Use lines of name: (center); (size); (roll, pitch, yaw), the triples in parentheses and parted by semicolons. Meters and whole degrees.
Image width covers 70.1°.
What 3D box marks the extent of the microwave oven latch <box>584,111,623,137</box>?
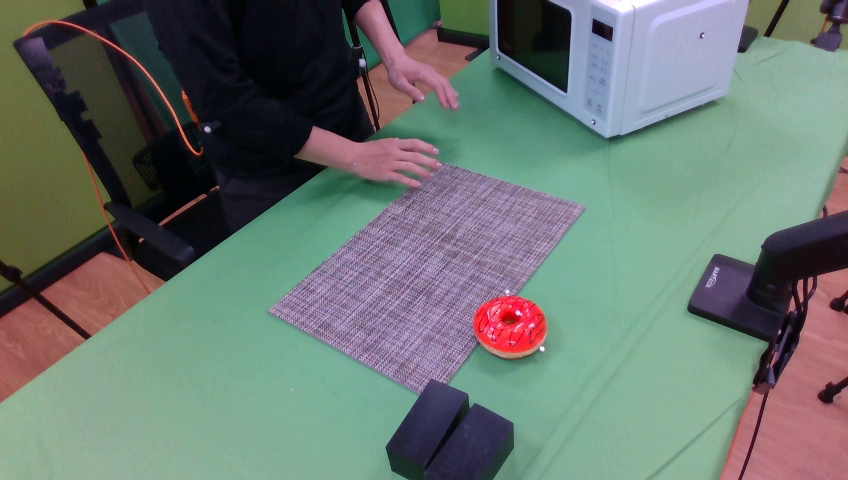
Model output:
microwave oven latch: (0.337, -0.222, 1.142); (0.030, 0.029, 0.078); (-21, 42, -14)

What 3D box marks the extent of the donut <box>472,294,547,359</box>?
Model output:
donut: (0.114, 0.114, 0.803); (0.099, 0.048, 0.098); (0, 40, 1)

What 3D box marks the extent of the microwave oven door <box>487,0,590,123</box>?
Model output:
microwave oven door: (0.232, -0.420, 1.231); (0.039, 0.245, 0.352); (-22, 43, -16)

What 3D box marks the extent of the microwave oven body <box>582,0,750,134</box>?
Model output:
microwave oven body: (0.382, -0.444, 1.246); (0.327, 0.261, 0.437); (-22, 42, -16)
